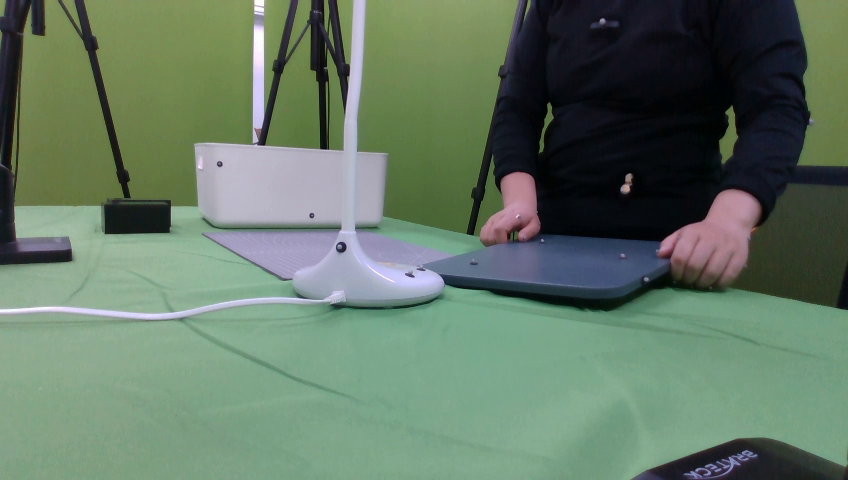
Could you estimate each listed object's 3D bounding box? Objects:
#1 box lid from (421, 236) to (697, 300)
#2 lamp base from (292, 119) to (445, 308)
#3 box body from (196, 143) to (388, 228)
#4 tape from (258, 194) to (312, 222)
[{"bbox_3d":[0.185,0.027,0.799,0.262,0.015,0.373,3,9,36],"label":"box lid"},{"bbox_3d":[-0.056,-0.030,0.616,0.160,0.180,0.179,3,10,8],"label":"lamp base"},{"bbox_3d":[-0.286,-0.118,1.291,0.366,0.160,0.253,-1,8,-27],"label":"box body"},{"bbox_3d":[-0.299,-0.070,1.297,0.117,0.052,0.117,3,7,0],"label":"tape"}]
